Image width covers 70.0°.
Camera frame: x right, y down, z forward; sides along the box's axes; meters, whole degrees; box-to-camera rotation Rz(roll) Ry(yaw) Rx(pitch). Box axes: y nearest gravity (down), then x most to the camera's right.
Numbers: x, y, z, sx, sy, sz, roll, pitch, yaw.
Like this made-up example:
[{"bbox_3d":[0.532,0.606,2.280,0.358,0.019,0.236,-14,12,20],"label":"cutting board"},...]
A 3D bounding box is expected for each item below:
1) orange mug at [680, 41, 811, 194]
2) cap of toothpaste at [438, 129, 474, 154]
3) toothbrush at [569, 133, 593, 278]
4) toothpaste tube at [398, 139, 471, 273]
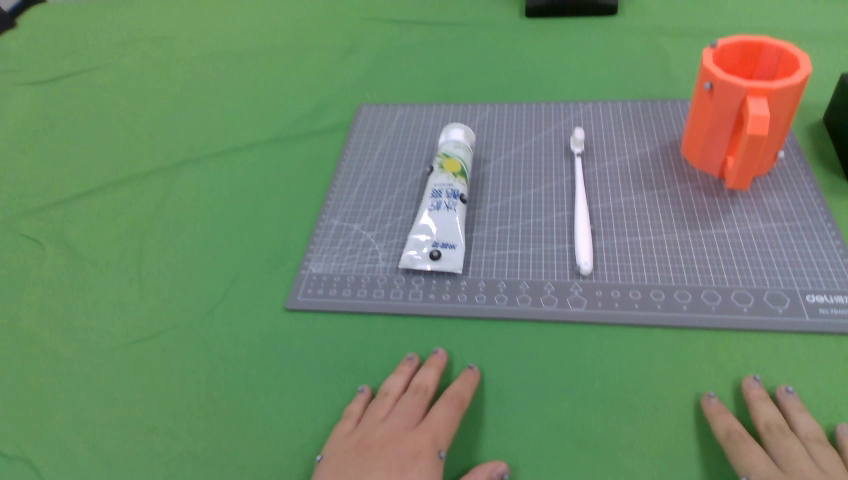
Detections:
[{"bbox_3d":[0.280,-0.103,0.535,0.083,0.102,0.125,7,43,15],"label":"orange mug"},{"bbox_3d":[0.032,-0.094,0.602,0.037,0.038,0.011,4,49,11],"label":"cap of toothpaste"},{"bbox_3d":[0.141,-0.038,0.545,0.014,0.017,0.180,11,48,-1],"label":"toothbrush"},{"bbox_3d":[0.017,-0.036,0.553,0.055,0.035,0.163,0,48,13],"label":"toothpaste tube"}]
